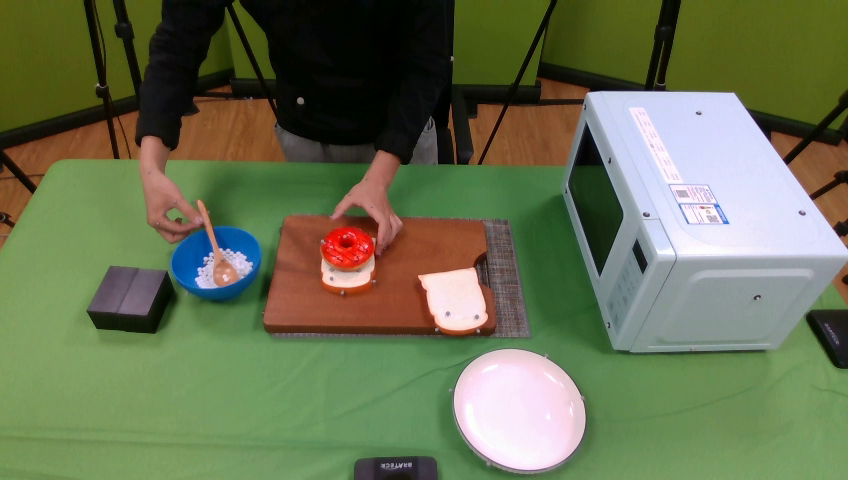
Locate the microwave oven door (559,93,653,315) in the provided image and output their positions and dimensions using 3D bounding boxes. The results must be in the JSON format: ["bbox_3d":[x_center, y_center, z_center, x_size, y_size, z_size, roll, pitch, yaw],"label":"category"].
[{"bbox_3d":[0.327,-0.074,1.123,0.039,0.245,0.353,-1,46,-5],"label":"microwave oven door"}]

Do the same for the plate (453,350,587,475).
[{"bbox_3d":[0.147,0.267,0.943,0.208,0.039,0.206,2,46,-2],"label":"plate"}]

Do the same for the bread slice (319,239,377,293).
[{"bbox_3d":[-0.140,0.044,1.111,0.105,0.019,0.130,0,44,-3],"label":"bread slice"}]

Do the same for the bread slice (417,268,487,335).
[{"bbox_3d":[0.055,0.107,1.063,0.107,0.018,0.133,-9,48,-12],"label":"bread slice"}]

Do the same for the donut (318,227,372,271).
[{"bbox_3d":[-0.142,0.017,1.096,0.099,0.048,0.098,2,44,-2],"label":"donut"}]

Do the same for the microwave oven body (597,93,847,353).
[{"bbox_3d":[0.475,-0.041,1.109,0.326,0.261,0.438,-1,45,-4],"label":"microwave oven body"}]

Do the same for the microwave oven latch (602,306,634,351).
[{"bbox_3d":[0.332,0.153,1.044,0.030,0.029,0.078,0,45,-4],"label":"microwave oven latch"}]

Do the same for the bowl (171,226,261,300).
[{"bbox_3d":[-0.363,0.055,1.080,0.151,0.077,0.150,2,45,-2],"label":"bowl"}]

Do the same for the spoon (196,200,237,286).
[{"bbox_3d":[-0.378,0.003,1.086,0.042,0.022,0.193,-16,67,-22],"label":"spoon"}]
